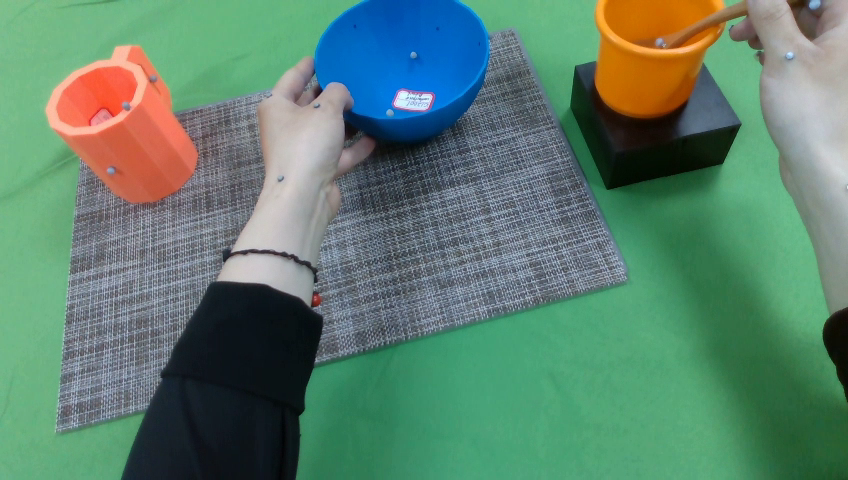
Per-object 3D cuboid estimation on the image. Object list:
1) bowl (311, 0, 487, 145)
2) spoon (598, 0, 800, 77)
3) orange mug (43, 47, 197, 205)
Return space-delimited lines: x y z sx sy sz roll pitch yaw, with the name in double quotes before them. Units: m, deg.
"bowl" -0.018 -0.139 0.543 0.151 0.077 0.150 -3 60 5
"spoon" 0.201 -0.151 0.426 0.022 0.193 0.041 35 72 -23
"orange mug" -0.266 -0.109 0.546 0.083 0.101 0.125 -4 64 6
